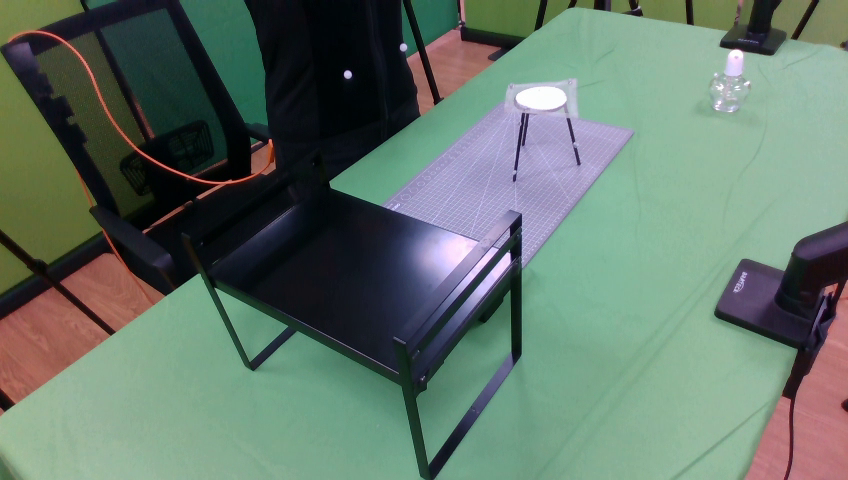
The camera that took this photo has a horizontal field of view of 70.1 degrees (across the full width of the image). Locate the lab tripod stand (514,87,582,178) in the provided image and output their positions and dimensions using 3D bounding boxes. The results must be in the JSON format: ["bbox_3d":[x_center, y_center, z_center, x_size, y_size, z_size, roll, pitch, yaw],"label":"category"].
[{"bbox_3d":[0.211,-0.196,1.082,0.148,0.132,0.147,-3,40,3],"label":"lab tripod stand"}]

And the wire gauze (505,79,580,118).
[{"bbox_3d":[0.203,-0.244,1.036,0.125,0.011,0.121,4,41,11],"label":"wire gauze"}]

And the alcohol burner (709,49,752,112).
[{"bbox_3d":[0.600,-0.313,1.179,0.078,0.119,0.077,-6,41,5],"label":"alcohol burner"}]

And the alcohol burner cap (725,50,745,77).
[{"bbox_3d":[0.596,-0.340,1.154,0.034,0.048,0.033,-8,45,8],"label":"alcohol burner cap"}]
